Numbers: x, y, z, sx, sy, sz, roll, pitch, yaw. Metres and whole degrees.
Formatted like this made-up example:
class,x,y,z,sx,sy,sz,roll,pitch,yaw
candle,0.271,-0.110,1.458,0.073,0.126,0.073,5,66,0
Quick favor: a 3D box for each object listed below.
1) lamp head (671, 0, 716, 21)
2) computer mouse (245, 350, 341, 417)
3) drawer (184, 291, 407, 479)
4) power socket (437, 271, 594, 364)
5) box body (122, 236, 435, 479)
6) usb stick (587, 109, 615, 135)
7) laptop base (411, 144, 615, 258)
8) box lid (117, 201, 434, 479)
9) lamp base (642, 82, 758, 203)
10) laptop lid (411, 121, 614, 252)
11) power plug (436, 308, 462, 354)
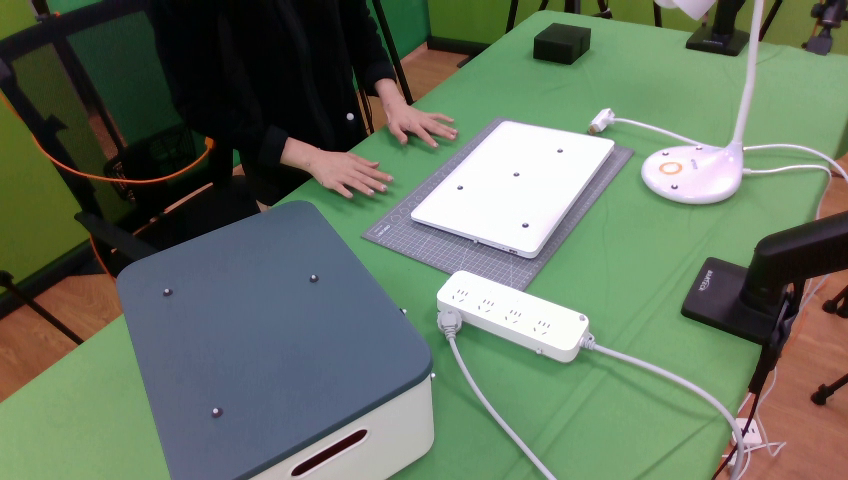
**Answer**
class,x,y,z,sx,sy,sz,roll,pitch,yaw
lamp head,0.375,-0.373,0.807,0.122,0.113,0.112,-40,27,32
computer mouse,-0.164,0.173,0.754,0.118,0.041,0.062,-18,33,-18
drawer,-0.155,0.180,0.720,0.195,0.073,0.210,-27,40,-21
power socket,0.118,0.102,0.830,0.225,0.033,0.072,20,49,28
box body,-0.175,0.142,0.725,0.255,0.161,0.360,-25,43,-20
usb stick,0.344,-0.229,1.184,0.059,0.021,0.027,-47,21,-8
laptop base,0.167,-0.102,1.074,0.234,0.023,0.355,17,45,30
box lid,-0.182,0.087,0.675,0.264,0.015,0.368,-25,42,-20
lamp base,0.464,-0.174,0.992,0.179,0.181,0.159,-5,41,-1
laptop lid,0.164,-0.112,1.068,0.240,0.013,0.357,19,46,30
power plug,0.031,0.125,0.810,0.035,0.053,0.072,7,58,11
